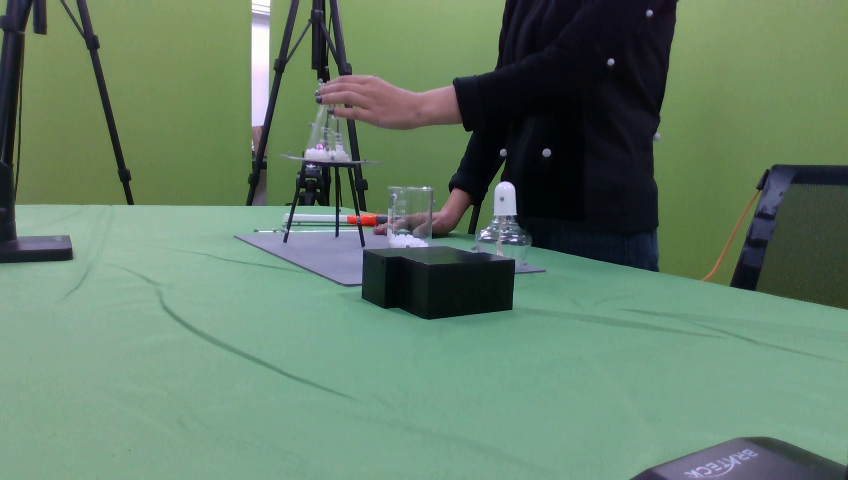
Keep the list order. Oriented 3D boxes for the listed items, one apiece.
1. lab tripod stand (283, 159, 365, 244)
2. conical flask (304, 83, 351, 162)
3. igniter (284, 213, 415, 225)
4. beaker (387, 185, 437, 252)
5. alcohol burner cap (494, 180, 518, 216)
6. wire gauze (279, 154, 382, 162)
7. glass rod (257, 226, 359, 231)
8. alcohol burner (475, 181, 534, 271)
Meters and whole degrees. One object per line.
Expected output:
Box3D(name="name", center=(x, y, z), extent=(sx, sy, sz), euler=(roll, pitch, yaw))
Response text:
Box3D(name="lab tripod stand", center=(-0.151, -0.063, 0.983), extent=(0.148, 0.131, 0.148), euler=(4, 7, 0))
Box3D(name="conical flask", center=(-0.151, -0.186, 0.963), extent=(0.075, 0.122, 0.075), euler=(4, 6, 0))
Box3D(name="igniter", center=(-0.154, -0.045, 1.282), extent=(0.278, 0.025, 0.057), euler=(0, -3, -20))
Box3D(name="beaker", center=(-0.023, -0.035, 0.941), extent=(0.074, 0.100, 0.083), euler=(-3, 8, -38))
Box3D(name="alcohol burner cap", center=(0.108, -0.055, 0.800), extent=(0.034, 0.048, 0.034), euler=(-2, 4, 0))
Box3D(name="wire gauze", center=(-0.149, -0.128, 0.974), extent=(0.124, 0.011, 0.122), euler=(6, 5, 41))
Box3D(name="glass rod", center=(-0.216, -0.022, 1.151), extent=(0.201, 0.008, 0.008), euler=(-2, 8, -28))
Box3D(name="alcohol burner", center=(0.108, -0.020, 0.804), extent=(0.078, 0.119, 0.078), euler=(3, 5, 0))
